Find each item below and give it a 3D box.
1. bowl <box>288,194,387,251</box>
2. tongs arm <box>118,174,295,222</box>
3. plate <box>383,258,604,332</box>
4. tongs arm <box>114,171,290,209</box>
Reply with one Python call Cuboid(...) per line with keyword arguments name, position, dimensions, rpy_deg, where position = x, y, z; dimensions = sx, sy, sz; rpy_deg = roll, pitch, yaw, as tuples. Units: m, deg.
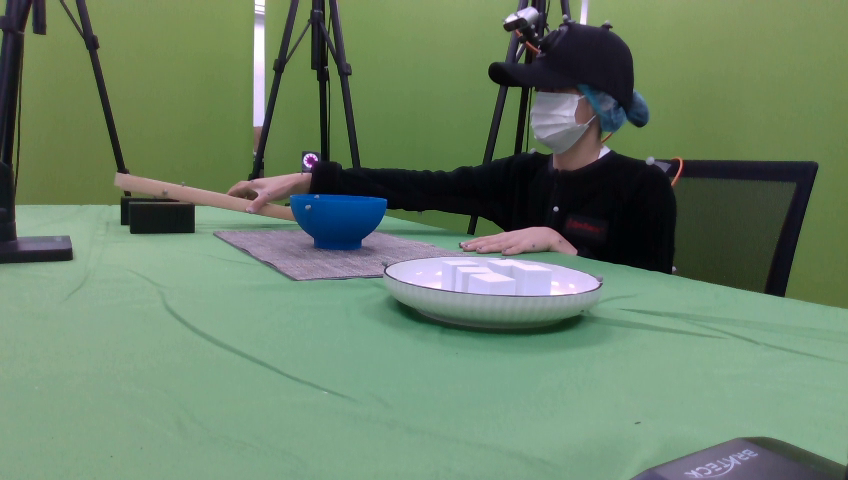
Cuboid(name="bowl", position=(-0.135, -0.027, 0.936), dimensions=(0.151, 0.077, 0.151), rpy_deg=(3, 7, 0))
Cuboid(name="tongs arm", position=(-0.354, -0.067, 1.118), dimensions=(0.390, 0.027, 0.028), rpy_deg=(11, -3, -40))
Cuboid(name="plate", position=(0.064, 0.051, 0.582), dimensions=(0.209, 0.038, 0.209), rpy_deg=(3, 7, 0))
Cuboid(name="tongs arm", position=(-0.393, -0.078, 1.184), dimensions=(0.387, 0.026, 0.050), rpy_deg=(12, 0, -28))
